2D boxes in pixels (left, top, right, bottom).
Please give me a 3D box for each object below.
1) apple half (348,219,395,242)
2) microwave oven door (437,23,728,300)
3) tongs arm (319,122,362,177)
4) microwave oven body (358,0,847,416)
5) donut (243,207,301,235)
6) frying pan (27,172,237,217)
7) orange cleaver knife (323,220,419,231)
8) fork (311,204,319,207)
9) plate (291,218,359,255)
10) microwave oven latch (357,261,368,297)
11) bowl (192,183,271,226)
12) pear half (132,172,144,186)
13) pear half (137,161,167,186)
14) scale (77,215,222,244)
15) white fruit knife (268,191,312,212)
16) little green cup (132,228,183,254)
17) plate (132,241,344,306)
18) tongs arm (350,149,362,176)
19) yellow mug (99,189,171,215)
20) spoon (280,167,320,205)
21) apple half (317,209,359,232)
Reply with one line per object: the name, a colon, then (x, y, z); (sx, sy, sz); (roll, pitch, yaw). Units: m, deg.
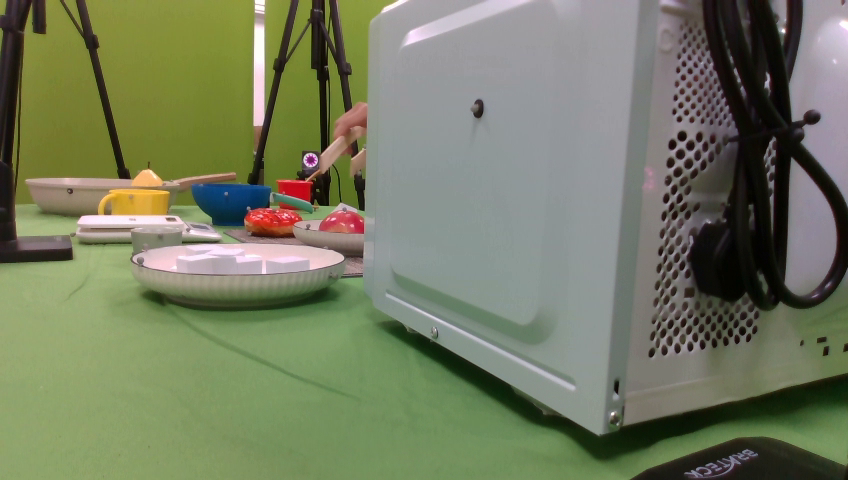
apple half: (-0.083, -0.018, 0.966); (0.081, 0.033, 0.081); (5, 9, 0)
microwave oven door: (0.180, -0.073, 0.621); (0.358, 0.243, 0.039); (-2, 8, -29)
tongs arm: (-0.118, -0.158, 0.979); (0.028, 0.028, 0.387); (-4, 19, 6)
microwave oven body: (0.211, -0.047, 0.475); (0.444, 0.260, 0.324); (-1, 7, -28)
donut: (-0.261, -0.032, 1.043); (0.099, 0.048, 0.099); (4, 9, 0)
frying pan: (-0.624, -0.118, 1.387); (0.305, 0.102, 0.490); (8, 17, 32)
orange cleaver knife: (-0.097, -0.027, 1.152); (0.077, 0.012, 0.212); (2, 7, 41)
fork: (-0.356, -0.105, 1.526); (0.208, 0.018, 0.028); (16, -5, -41)
plate: (-0.098, -0.007, 0.928); (0.209, 0.038, 0.209); (2, 8, 0)
microwave oven latch: (-0.019, 0.033, 0.531); (0.079, 0.029, 0.030); (-1, 7, -27)
bowl: (-0.382, -0.071, 1.202); (0.151, 0.077, 0.151); (3, 7, 0)
pear half: (-0.638, -0.113, 1.360); (0.031, 0.088, 0.070); (5, 10, 4)
pear half: (-0.602, -0.120, 1.354); (0.056, 0.110, 0.076); (4, 11, 6)
scale: (-0.434, -0.019, 0.963); (0.202, 0.031, 0.148); (-1, 9, -27)
white fruit knife: (-0.364, -0.105, 1.464); (0.208, 0.027, 0.016); (15, 0, -34)
little green cup: (-0.342, 0.006, 0.779); (0.061, 0.038, 0.061); (2, 8, 0)
plate: (-0.187, 0.033, 0.625); (0.208, 0.039, 0.207); (2, 8, 0)
tongs arm: (-0.091, -0.158, 0.977); (0.051, 0.026, 0.385); (0, 19, 8)
yellow mug: (-0.519, -0.055, 1.080); (0.099, 0.064, 0.131); (7, 9, 26)
spoon: (-0.317, -0.159, 1.640); (0.194, 0.022, 0.041); (-49, 32, -20)
apple half: (-0.121, -0.020, 0.900); (0.080, 0.053, 0.075); (3, 10, 14)
